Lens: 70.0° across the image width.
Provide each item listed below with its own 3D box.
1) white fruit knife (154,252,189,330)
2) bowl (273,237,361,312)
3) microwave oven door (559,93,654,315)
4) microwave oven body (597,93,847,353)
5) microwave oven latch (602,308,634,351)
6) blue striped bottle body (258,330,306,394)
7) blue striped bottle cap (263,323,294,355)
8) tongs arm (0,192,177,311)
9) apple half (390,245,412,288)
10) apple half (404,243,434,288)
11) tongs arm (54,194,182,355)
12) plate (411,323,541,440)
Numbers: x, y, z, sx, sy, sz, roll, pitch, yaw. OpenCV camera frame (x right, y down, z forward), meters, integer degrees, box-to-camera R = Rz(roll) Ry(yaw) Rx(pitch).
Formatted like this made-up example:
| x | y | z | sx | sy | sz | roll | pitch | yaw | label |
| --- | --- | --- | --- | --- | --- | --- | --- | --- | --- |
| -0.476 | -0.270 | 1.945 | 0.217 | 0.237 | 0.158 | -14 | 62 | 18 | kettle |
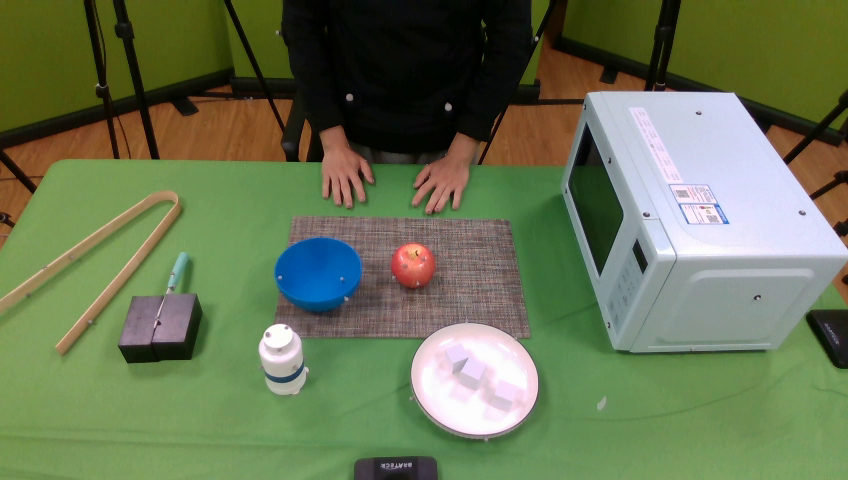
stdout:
| x | y | z | sx | sy | sz | roll | pitch | yaw | label |
| --- | --- | --- | --- | --- | --- | --- | --- | --- | --- |
| -0.438 | 0.083 | 1.053 | 0.016 | 0.027 | 0.206 | -2 | 35 | -5 | white fruit knife |
| -0.186 | 0.075 | 1.069 | 0.151 | 0.077 | 0.150 | 3 | 46 | -3 | bowl |
| 0.327 | -0.074 | 1.123 | 0.039 | 0.245 | 0.353 | -1 | 46 | -5 | microwave oven door |
| 0.475 | -0.041 | 1.110 | 0.326 | 0.261 | 0.438 | -1 | 45 | -4 | microwave oven body |
| 0.332 | 0.153 | 1.044 | 0.030 | 0.029 | 0.078 | -1 | 45 | -4 | microwave oven latch |
| -0.220 | 0.182 | 0.937 | 0.063 | 0.121 | 0.062 | 2 | 46 | -2 | blue striped bottle body |
| -0.217 | 0.146 | 0.900 | 0.044 | 0.021 | 0.044 | 1 | 46 | -1 | blue striped bottle cap |
| -0.618 | 0.019 | 1.124 | 0.050 | 0.026 | 0.384 | 24 | 47 | 16 | tongs arm |
| -0.046 | 0.053 | 1.105 | 0.033 | 0.081 | 0.080 | -8 | 47 | -16 | apple half |
| -0.010 | 0.048 | 1.115 | 0.053 | 0.075 | 0.080 | -7 | 43 | -17 | apple half |
| -0.543 | 0.048 | 1.107 | 0.028 | 0.028 | 0.385 | 11 | 46 | 10 | tongs arm |
| 0.082 | 0.228 | 0.976 | 0.208 | 0.039 | 0.206 | 2 | 45 | -2 | plate |
